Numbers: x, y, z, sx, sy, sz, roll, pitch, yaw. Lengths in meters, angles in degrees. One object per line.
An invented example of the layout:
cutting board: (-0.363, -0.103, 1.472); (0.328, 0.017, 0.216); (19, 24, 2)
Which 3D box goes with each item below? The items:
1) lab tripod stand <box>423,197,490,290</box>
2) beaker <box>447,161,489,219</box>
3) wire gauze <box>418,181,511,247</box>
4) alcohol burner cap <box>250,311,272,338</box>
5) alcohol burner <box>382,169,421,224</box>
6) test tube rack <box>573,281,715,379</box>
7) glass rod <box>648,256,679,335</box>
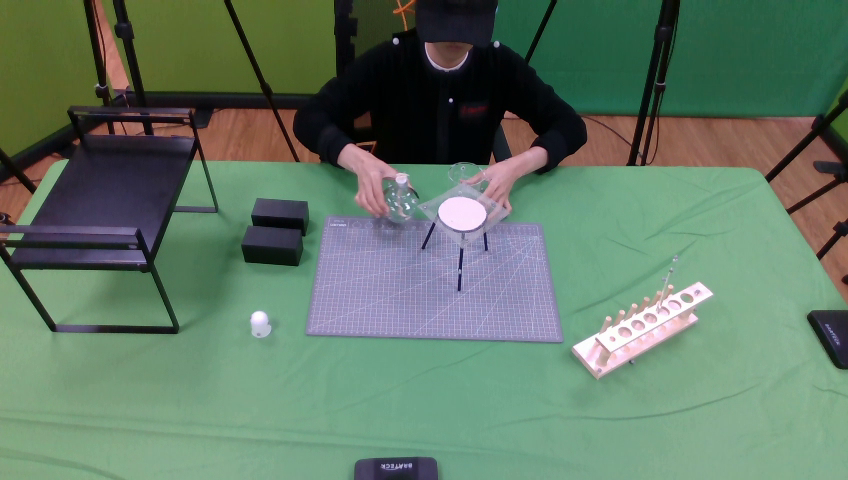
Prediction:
lab tripod stand: (0.064, -0.003, 1.120); (0.148, 0.132, 0.147); (1, 47, 0)
beaker: (0.086, -0.099, 1.243); (0.084, 0.101, 0.073); (3, 46, 0)
wire gauze: (0.071, -0.052, 1.074); (0.121, 0.011, 0.124); (-31, 55, -28)
alcohol burner cap: (-0.278, 0.141, 1.026); (0.034, 0.048, 0.033); (1, 46, -1)
alcohol burner: (-0.043, -0.089, 1.171); (0.078, 0.119, 0.077); (3, 49, -3)
test tube rack: (0.378, 0.140, 1.038); (0.242, 0.085, 0.066); (-22, 51, -23)
glass rod: (0.390, 0.095, 0.990); (0.008, 0.201, 0.008); (-2, 45, 2)
